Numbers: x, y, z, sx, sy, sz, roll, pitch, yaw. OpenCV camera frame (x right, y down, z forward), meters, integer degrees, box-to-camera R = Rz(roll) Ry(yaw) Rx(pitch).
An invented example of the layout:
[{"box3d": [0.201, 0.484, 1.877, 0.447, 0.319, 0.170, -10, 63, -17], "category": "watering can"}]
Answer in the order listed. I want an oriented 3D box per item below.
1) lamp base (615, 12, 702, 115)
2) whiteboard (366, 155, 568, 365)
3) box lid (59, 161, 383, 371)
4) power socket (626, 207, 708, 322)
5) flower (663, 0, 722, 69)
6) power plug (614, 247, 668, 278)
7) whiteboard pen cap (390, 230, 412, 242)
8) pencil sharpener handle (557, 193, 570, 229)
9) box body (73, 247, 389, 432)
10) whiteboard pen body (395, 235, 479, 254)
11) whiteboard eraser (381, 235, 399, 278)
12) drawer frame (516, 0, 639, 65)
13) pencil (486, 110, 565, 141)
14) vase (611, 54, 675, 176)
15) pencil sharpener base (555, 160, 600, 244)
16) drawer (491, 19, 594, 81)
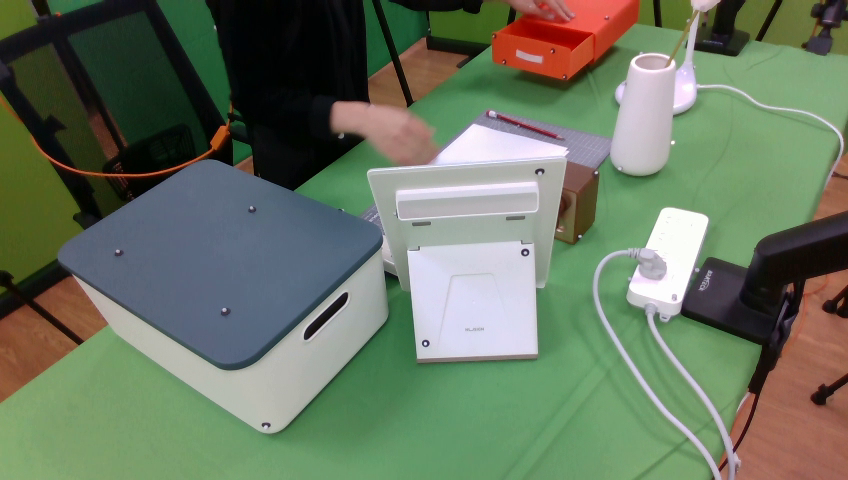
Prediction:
[{"box3d": [0.484, -0.364, 1.211, 0.180, 0.181, 0.159, -15, 41, -14], "category": "lamp base"}, {"box3d": [0.059, 0.049, 0.738, 0.217, 0.307, 0.143, -3, 60, 5], "category": "whiteboard"}, {"box3d": [-0.262, 0.010, 0.777, 0.369, 0.015, 0.264, 21, 48, 29], "category": "box lid"}, {"box3d": [0.359, 0.025, 0.886, 0.072, 0.033, 0.227, 16, 46, 26], "category": "power socket"}, {"box3d": [0.379, -0.261, 0.965, 0.044, 0.362, 0.038, 21, 53, 5], "category": "flower"}, {"box3d": [0.306, 0.031, 0.851, 0.072, 0.053, 0.035, 24, 49, 33], "category": "power plug"}, {"box3d": [-0.037, -0.006, 0.980, 0.033, 0.018, 0.018, 9, 43, 16], "category": "whiteboard pen cap"}, {"box3d": [0.195, -0.038, 0.908, 0.035, 0.068, 0.031, 24, 50, 30], "category": "pencil sharpener handle"}, {"box3d": [-0.255, 0.065, 0.827, 0.361, 0.161, 0.255, 21, 48, 29], "category": "box body"}, {"box3d": [0.019, 0.005, 0.963, 0.140, 0.017, 0.017, 9, 43, 17], "category": "whiteboard pen body"}, {"box3d": [-0.066, 0.022, 0.945, 0.112, 0.042, 0.056, 20, 49, 28], "category": "whiteboard eraser"}, {"box3d": [0.354, -0.506, 1.404, 0.200, 0.083, 0.214, 25, 54, 33], "category": "drawer frame"}, {"box3d": [0.204, -0.232, 1.226, 0.192, 0.012, 0.012, 29, 52, 33], "category": "pencil"}, {"box3d": [0.377, -0.209, 1.031, 0.098, 0.201, 0.097, -3, 40, 3], "category": "vase"}, {"box3d": [0.228, -0.057, 0.945, 0.061, 0.107, 0.077, 24, 50, 31], "category": "pencil sharpener base"}, {"box3d": [0.288, -0.446, 1.347, 0.193, 0.073, 0.212, 24, 49, 32], "category": "drawer"}]
